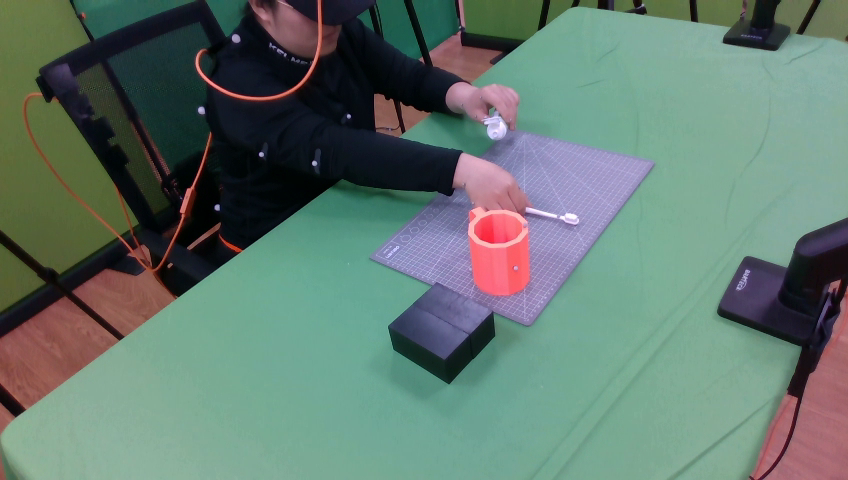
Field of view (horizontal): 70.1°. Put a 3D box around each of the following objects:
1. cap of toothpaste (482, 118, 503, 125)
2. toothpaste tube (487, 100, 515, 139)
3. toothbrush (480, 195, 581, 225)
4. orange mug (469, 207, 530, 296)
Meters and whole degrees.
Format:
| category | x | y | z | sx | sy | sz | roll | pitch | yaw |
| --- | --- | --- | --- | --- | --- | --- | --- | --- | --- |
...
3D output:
| category | x | y | z | sx | sy | sz | roll | pitch | yaw |
| --- | --- | --- | --- | --- | --- | --- | --- | --- | --- |
| cap of toothpaste | 0.119 | -0.204 | 1.043 | 0.037 | 0.011 | 0.037 | -3 | 9 | 1 |
| toothpaste tube | 0.144 | -0.223 | 1.128 | 0.034 | 0.055 | 0.165 | -24 | 16 | 24 |
| toothbrush | 0.175 | -0.053 | 1.015 | 0.180 | 0.017 | 0.014 | 16 | 67 | 29 |
| orange mug | 0.104 | 0.008 | 0.894 | 0.084 | 0.101 | 0.125 | -22 | 46 | -14 |
